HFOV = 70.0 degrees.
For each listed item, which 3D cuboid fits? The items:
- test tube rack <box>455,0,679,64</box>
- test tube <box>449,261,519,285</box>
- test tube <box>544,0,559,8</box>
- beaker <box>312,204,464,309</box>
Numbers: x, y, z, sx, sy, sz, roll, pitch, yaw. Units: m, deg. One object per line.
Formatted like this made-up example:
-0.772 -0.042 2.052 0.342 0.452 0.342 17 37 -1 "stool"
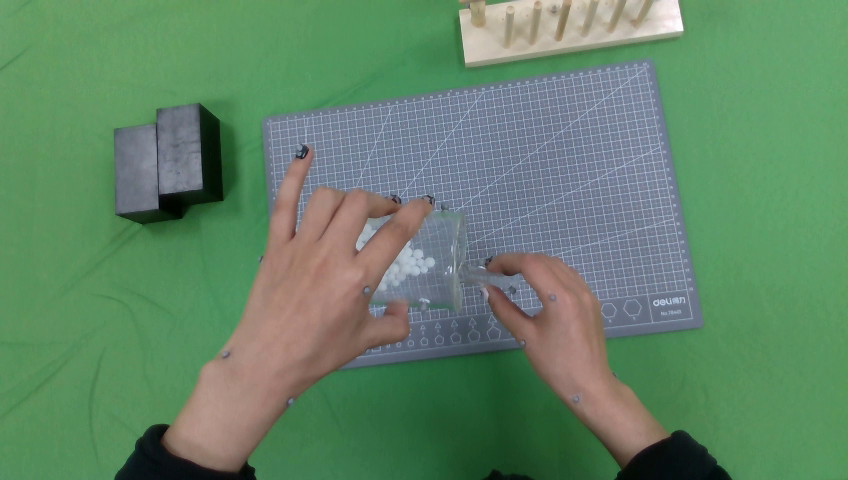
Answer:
0.156 -0.257 0.654 0.242 0.085 0.066 -7 80 5 "test tube rack"
0.057 0.030 0.538 0.017 0.151 0.017 -2 84 25 "test tube"
0.138 -0.282 0.609 0.017 0.151 0.017 -1 77 3 "test tube"
-0.023 0.011 0.441 0.100 0.084 0.073 3 74 8 "beaker"
